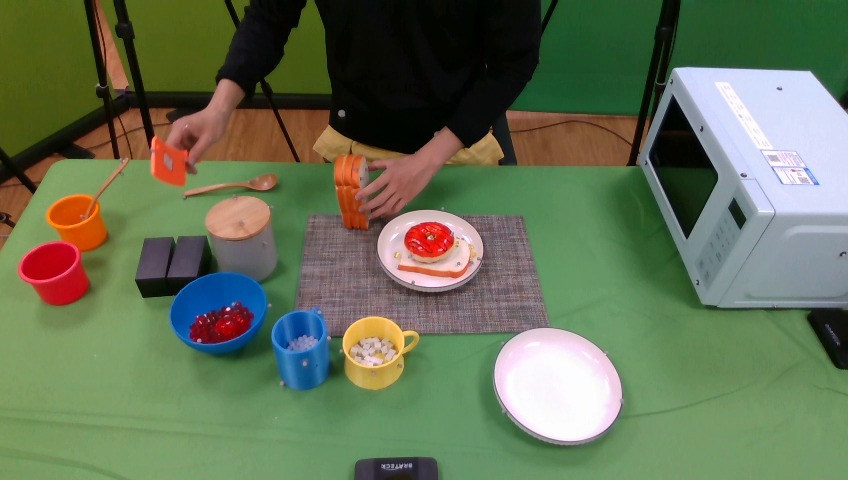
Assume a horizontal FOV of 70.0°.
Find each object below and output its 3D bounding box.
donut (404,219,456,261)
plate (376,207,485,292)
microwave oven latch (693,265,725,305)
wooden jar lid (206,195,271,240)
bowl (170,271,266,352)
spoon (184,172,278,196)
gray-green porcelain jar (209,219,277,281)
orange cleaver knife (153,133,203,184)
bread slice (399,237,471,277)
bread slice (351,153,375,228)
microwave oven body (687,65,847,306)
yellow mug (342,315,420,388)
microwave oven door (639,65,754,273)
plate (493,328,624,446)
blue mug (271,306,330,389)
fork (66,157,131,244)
[{"bbox_3d":[0.012,-0.001,1.140,0.099,0.048,0.098,0,44,0],"label":"donut"},{"bbox_3d":[0.012,0.021,1.159,0.209,0.038,0.208,2,47,-2],"label":"plate"},{"bbox_3d":[0.522,0.081,1.115,0.030,0.029,0.078,2,46,-1],"label":"microwave oven latch"},{"bbox_3d":[-0.319,-0.036,1.046,0.108,0.021,0.107,1,44,-1],"label":"wooden jar lid"},{"bbox_3d":[-0.334,0.132,1.006,0.151,0.077,0.150,2,46,-2],"label":"bowl"},{"bbox_3d":[-0.405,-0.116,1.275,0.194,0.022,0.041,-8,66,-12],"label":"spoon"},{"bbox_3d":[-0.323,0.007,1.092,0.106,0.127,0.105,2,46,-2],"label":"gray-green porcelain jar"},{"bbox_3d":[-0.419,-0.134,1.041,0.012,0.077,0.211,-5,3,0],"label":"orange cleaver knife"},{"bbox_3d":[0.025,0.025,1.161,0.131,0.019,0.104,7,47,8],"label":"bread slice"},{"bbox_3d":[-0.121,-0.103,1.207,0.018,0.135,0.106,-3,47,7],"label":"bread slice"},{"bbox_3d":[0.669,-0.111,1.176,0.326,0.261,0.439,0,46,-3],"label":"microwave oven body"},{"bbox_3d":[-0.068,0.177,0.990,0.131,0.064,0.099,-15,50,-19],"label":"yellow mug"},{"bbox_3d":[0.522,-0.147,1.193,0.039,0.245,0.353,0,47,-3],"label":"microwave oven door"},{"bbox_3d":[0.213,0.236,0.974,0.208,0.039,0.206,2,46,-2],"label":"plate"},{"bbox_3d":[-0.188,0.163,0.969,0.082,0.106,0.116,15,47,10],"label":"blue mug"},{"bbox_3d":[-0.608,-0.074,1.132,0.207,0.019,0.028,-52,47,10],"label":"fork"}]
